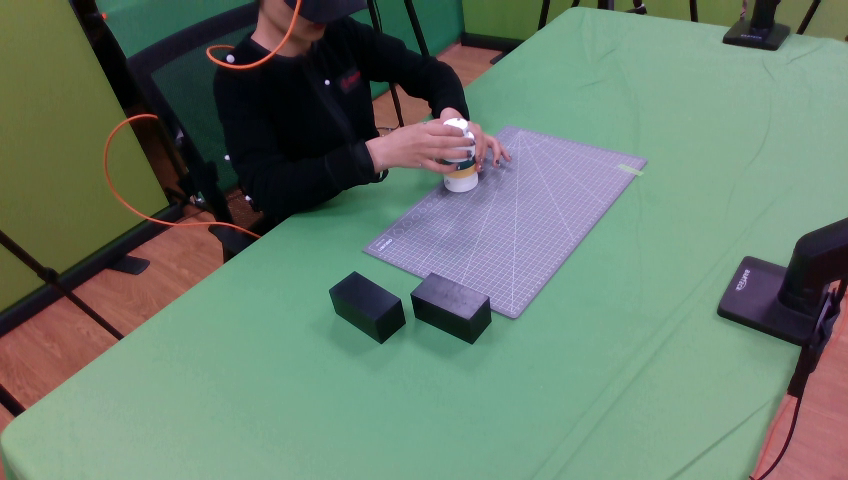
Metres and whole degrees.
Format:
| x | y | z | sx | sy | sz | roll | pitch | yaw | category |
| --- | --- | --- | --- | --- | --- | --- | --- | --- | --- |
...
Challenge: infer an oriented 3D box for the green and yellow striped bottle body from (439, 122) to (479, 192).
| x | y | z | sx | sy | sz | roll | pitch | yaw | category |
| --- | --- | --- | --- | --- | --- | --- | --- | --- | --- |
| 0.061 | -0.149 | 1.066 | 0.063 | 0.120 | 0.063 | -5 | 40 | 5 | green and yellow striped bottle body |

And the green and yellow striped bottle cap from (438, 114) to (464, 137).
| x | y | z | sx | sy | sz | roll | pitch | yaw | category |
| --- | --- | --- | --- | --- | --- | --- | --- | --- | --- |
| 0.046 | -0.198 | 1.039 | 0.045 | 0.020 | 0.045 | -1 | 46 | 1 | green and yellow striped bottle cap |
